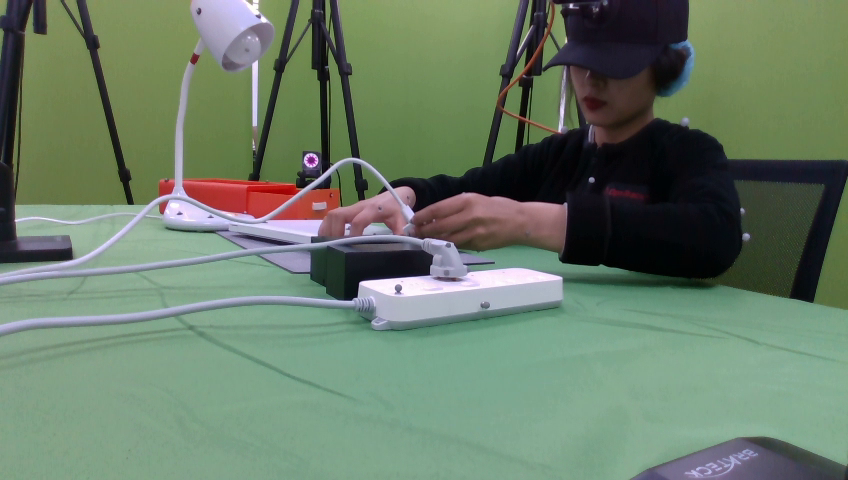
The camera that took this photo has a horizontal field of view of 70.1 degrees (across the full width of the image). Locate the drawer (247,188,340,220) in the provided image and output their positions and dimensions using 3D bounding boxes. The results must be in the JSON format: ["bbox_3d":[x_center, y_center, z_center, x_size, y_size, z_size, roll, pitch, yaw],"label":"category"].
[{"bbox_3d":[-0.314,-0.078,1.301,0.211,0.073,0.195,4,8,15],"label":"drawer"}]

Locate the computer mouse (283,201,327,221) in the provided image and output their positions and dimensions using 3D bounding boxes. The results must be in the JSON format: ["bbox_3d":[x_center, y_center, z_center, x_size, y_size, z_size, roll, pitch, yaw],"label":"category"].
[{"bbox_3d":[-0.254,-0.062,1.293,0.063,0.041,0.117,1,2,10],"label":"computer mouse"}]

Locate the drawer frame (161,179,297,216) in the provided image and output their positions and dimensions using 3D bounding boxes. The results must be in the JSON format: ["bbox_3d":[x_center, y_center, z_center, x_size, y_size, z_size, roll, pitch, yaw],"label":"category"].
[{"bbox_3d":[-0.421,-0.089,1.330,0.213,0.082,0.202,4,8,16],"label":"drawer frame"}]

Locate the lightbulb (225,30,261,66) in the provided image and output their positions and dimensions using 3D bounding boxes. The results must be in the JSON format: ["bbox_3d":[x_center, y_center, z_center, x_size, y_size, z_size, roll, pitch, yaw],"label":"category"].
[{"bbox_3d":[-0.317,-0.335,1.001,0.107,0.059,0.059,46,16,6],"label":"lightbulb"}]

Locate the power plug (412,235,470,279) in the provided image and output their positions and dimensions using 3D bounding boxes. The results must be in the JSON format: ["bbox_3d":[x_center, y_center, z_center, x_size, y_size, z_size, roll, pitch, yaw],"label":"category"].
[{"bbox_3d":[0.017,0.023,0.588,0.035,0.052,0.072,-1,7,-24],"label":"power plug"}]

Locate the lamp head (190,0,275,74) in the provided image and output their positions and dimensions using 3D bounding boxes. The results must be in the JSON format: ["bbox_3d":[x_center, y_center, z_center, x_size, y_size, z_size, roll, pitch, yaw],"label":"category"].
[{"bbox_3d":[-0.331,-0.355,1.008,0.123,0.112,0.112,43,15,6],"label":"lamp head"}]

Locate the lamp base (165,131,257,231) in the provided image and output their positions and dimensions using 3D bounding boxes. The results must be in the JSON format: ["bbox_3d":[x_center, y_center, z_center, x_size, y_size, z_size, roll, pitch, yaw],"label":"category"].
[{"bbox_3d":[-0.407,-0.112,1.119,0.179,0.180,0.161,-1,7,7],"label":"lamp base"}]

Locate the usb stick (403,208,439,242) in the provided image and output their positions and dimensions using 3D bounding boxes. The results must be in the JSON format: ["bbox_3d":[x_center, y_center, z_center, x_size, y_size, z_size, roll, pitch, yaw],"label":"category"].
[{"bbox_3d":[-0.007,-0.017,0.795,0.021,0.027,0.059,-44,4,-39],"label":"usb stick"}]

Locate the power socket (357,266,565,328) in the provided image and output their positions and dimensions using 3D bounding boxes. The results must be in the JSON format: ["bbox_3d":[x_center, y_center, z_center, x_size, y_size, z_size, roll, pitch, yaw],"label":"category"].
[{"bbox_3d":[0.041,0.049,0.572,0.228,0.032,0.072,-3,8,-35],"label":"power socket"}]

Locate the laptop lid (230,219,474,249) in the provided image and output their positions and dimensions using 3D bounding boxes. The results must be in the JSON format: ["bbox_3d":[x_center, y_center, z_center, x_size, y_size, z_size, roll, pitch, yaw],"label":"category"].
[{"bbox_3d":[-0.123,-0.015,0.992,0.355,0.013,0.243,9,8,42],"label":"laptop lid"}]

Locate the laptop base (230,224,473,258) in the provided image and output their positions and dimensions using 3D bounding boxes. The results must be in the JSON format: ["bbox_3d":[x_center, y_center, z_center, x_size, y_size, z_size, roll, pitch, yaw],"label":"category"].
[{"bbox_3d":[-0.125,-0.003,0.991,0.352,0.023,0.237,8,6,41],"label":"laptop base"}]
